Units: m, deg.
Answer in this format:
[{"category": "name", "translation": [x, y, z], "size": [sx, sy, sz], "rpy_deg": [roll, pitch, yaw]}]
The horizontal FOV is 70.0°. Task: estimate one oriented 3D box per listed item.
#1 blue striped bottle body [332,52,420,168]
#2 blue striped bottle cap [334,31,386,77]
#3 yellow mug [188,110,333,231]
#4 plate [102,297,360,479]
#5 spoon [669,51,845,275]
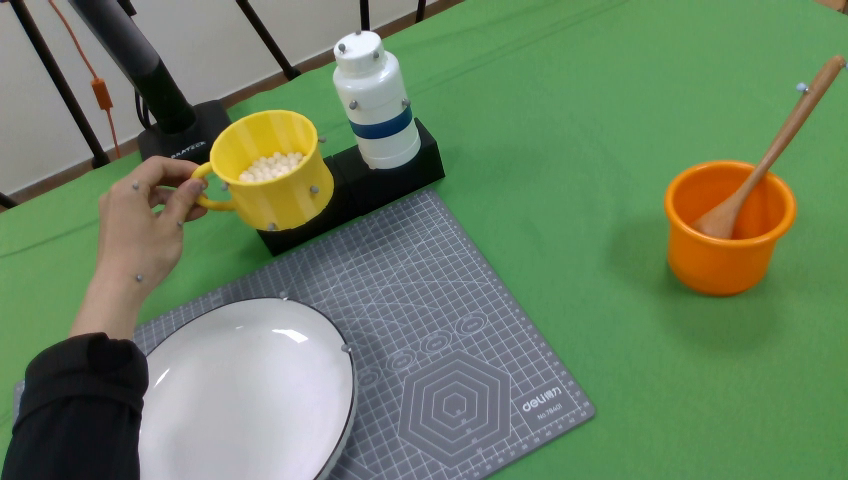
[{"category": "blue striped bottle body", "translation": [-0.047, -0.132, 0.576], "size": [0.063, 0.122, 0.062], "rpy_deg": [-8, 48, 9]}, {"category": "blue striped bottle cap", "translation": [-0.057, -0.166, 0.538], "size": [0.044, 0.021, 0.044], "rpy_deg": [-9, 49, 11]}, {"category": "yellow mug", "translation": [-0.158, -0.062, 0.576], "size": [0.131, 0.064, 0.099], "rpy_deg": [-19, 51, -7]}, {"category": "plate", "translation": [-0.148, 0.140, 0.486], "size": [0.207, 0.039, 0.205], "rpy_deg": [-8, 48, 9]}, {"category": "spoon", "translation": [0.253, -0.055, 0.467], "size": [0.041, 0.022, 0.194], "rpy_deg": [47, 114, 42]}]
